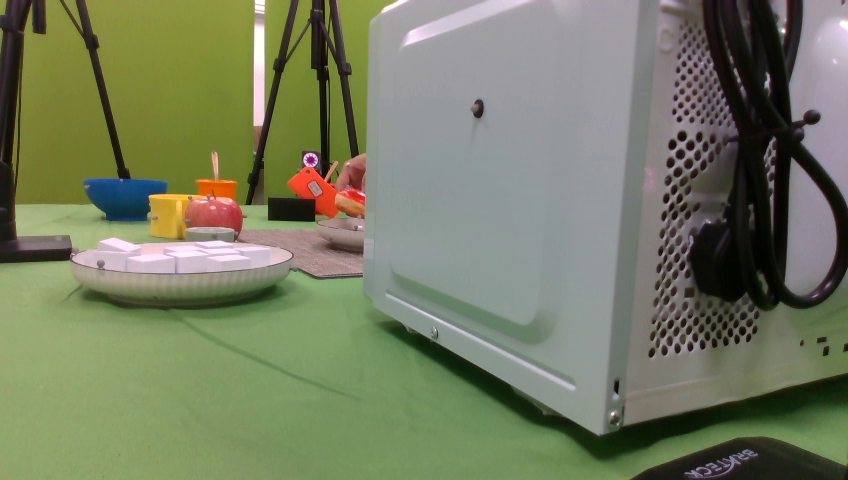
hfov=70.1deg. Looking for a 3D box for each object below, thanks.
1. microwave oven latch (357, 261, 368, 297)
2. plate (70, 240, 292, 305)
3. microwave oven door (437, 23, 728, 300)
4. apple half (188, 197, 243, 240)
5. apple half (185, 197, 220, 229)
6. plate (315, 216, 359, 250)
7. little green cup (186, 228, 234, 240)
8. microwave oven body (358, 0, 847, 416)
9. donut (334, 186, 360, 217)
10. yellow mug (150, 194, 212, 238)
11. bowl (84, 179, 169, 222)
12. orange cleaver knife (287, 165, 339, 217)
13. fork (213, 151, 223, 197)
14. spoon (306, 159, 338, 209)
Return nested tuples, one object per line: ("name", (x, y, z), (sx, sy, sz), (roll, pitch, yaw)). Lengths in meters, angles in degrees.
("microwave oven latch", (-0.019, 0.033, 0.531), (0.079, 0.029, 0.030), (-1, 7, -27))
("plate", (-0.242, 0.031, 0.618), (0.208, 0.039, 0.207), (2, 8, 0))
("microwave oven door", (0.181, -0.072, 0.621), (0.358, 0.243, 0.039), (-2, 8, -29))
("apple half", (-0.305, -0.026, 0.907), (0.053, 0.074, 0.081), (12, 8, 31))
("apple half", (-0.338, -0.031, 0.927), (0.032, 0.081, 0.081), (12, 12, 31))
("plate", (-0.068, -0.010, 0.963), (0.209, 0.038, 0.209), (3, 7, 0))
("little green cup", (-0.284, 0.005, 0.805), (0.061, 0.038, 0.061), (2, 8, 0))
("microwave oven body", (0.211, -0.047, 0.475), (0.444, 0.260, 0.324), (-1, 7, -28))
("donut", (-0.097, -0.057, 0.971), (0.099, 0.048, 0.099), (17, 4, -1))
("yellow mug", (-0.401, -0.039, 1.003), (0.100, 0.064, 0.130), (0, 9, -20))
("bowl", (-0.584, -0.078, 1.194), (0.151, 0.077, 0.151), (3, 8, 0))
("orange cleaver knife", (-0.211, -0.093, 1.382), (0.212, 0.077, 0.012), (33, 1, -15))
("fork", (-0.494, -0.143, 1.442), (0.028, 0.018, 0.206), (-2, 52, -20))
("spoon", (-0.257, -0.147, 1.567), (0.041, 0.022, 0.193), (1, 51, 20))
